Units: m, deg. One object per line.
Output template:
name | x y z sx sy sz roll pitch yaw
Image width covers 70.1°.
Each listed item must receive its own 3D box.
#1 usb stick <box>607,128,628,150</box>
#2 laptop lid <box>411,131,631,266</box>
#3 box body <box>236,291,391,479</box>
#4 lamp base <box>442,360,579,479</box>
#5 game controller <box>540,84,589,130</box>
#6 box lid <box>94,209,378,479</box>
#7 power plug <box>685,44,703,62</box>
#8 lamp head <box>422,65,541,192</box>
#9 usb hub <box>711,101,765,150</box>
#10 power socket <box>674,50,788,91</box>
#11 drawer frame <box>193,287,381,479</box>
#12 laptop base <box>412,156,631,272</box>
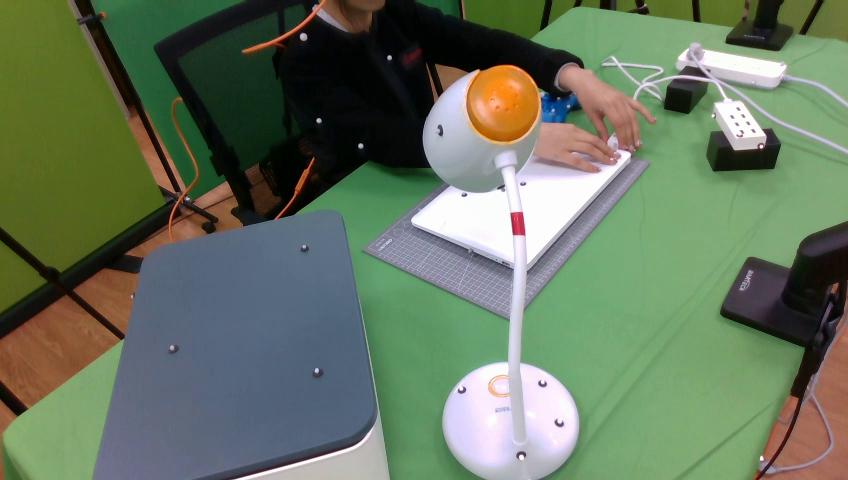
usb stick | 0.353 -0.178 1.111 0.021 0.027 0.059 22 58 30
laptop lid | 0.173 -0.093 1.049 0.239 0.013 0.358 24 49 36
box body | -0.190 0.161 0.723 0.255 0.161 0.361 -13 40 -5
lamp base | 0.094 0.158 0.657 0.161 0.181 0.178 -13 42 -5
game controller | 0.273 -0.282 1.251 0.096 0.052 0.155 26 51 30
box lid | -0.202 0.094 0.680 0.264 0.015 0.368 -13 39 -5
power plug | 0.568 -0.390 1.294 0.073 0.053 0.035 -33 46 -22
lamp head | 0.060 -0.106 0.560 0.113 0.112 0.122 -16 0 -8
usb hub | 0.537 -0.198 1.038 0.049 0.025 0.124 -4 39 8
power socket | 0.646 -0.363 1.284 0.225 0.033 0.072 25 52 34
drawer frame | -0.172 0.176 0.755 0.202 0.083 0.212 -14 42 -7
laptop base | 0.176 -0.083 1.055 0.233 0.023 0.355 21 48 36
